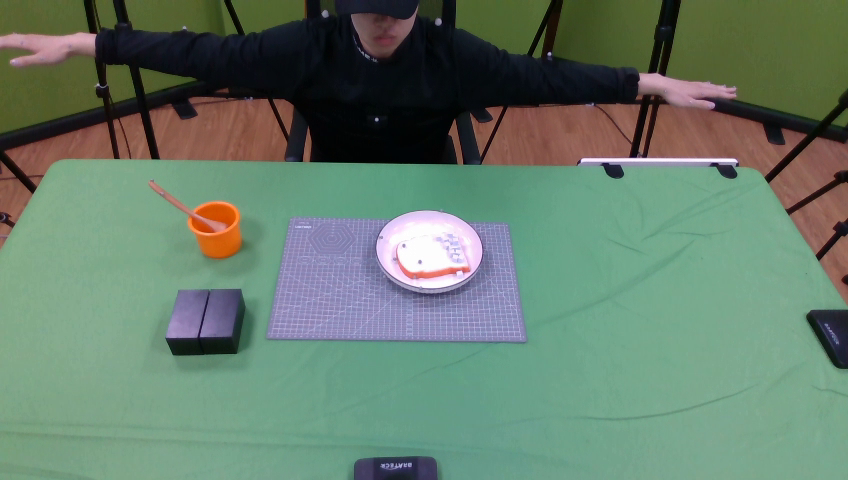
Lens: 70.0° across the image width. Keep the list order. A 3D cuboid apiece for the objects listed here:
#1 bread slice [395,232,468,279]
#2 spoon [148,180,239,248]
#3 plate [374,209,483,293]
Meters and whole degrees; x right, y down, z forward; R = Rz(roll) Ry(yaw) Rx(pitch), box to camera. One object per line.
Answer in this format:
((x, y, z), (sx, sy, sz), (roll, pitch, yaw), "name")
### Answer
((0.011, 0.030, 1.158), (0.132, 0.019, 0.104), (-8, 47, -14), "bread slice")
((-0.422, -0.047, 1.115), (0.195, 0.021, 0.041), (36, 41, -26), "spoon")
((0.009, 0.024, 1.160), (0.209, 0.038, 0.208), (2, 46, -2), "plate")
